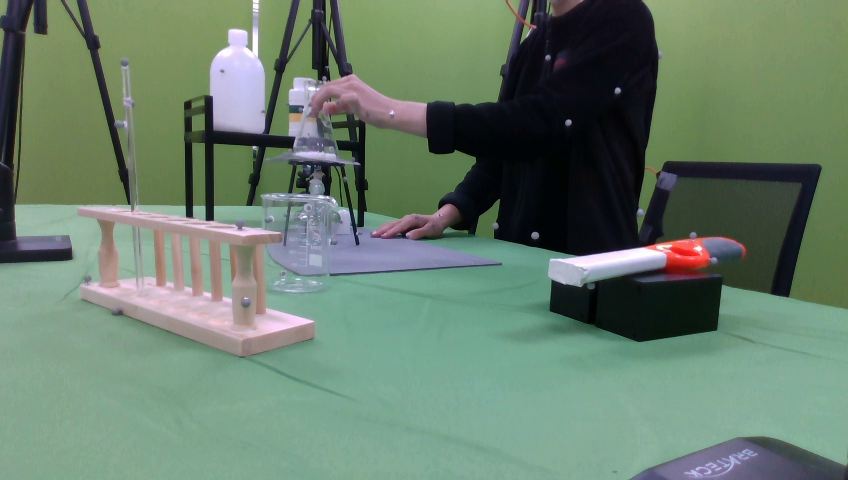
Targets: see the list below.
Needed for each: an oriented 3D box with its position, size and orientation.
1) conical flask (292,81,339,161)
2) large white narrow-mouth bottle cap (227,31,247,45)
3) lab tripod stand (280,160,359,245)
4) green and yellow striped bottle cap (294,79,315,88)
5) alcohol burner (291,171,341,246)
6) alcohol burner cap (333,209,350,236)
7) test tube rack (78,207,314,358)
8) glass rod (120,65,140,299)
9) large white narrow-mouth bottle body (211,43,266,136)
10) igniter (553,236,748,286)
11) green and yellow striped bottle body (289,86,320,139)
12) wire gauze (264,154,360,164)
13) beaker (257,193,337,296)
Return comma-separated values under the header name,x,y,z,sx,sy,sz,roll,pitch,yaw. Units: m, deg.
name,x,y,z,sx,sy,sz,roll,pitch,yaw
conical flask,-0.171,-0.187,0.956,0.075,0.122,0.075,1,7,0
large white narrow-mouth bottle cap,-0.361,-0.388,1.165,0.038,0.024,0.037,1,7,0
lab tripod stand,-0.176,-0.062,0.973,0.148,0.131,0.148,1,7,0
green and yellow striped bottle cap,-0.248,-0.323,1.256,0.045,0.020,0.045,3,9,0
alcohol burner,-0.172,-0.050,0.962,0.078,0.119,0.078,1,5,0
alcohol burner cap,-0.151,-0.033,1.115,0.034,0.048,0.034,3,6,0
test tube rack,-0.196,0.023,0.500,0.241,0.085,0.067,8,8,37
glass rod,-0.249,-0.047,0.513,0.008,0.199,0.008,-1,4,0
large white narrow-mouth bottle body,-0.361,-0.302,1.176,0.102,0.194,0.102,1,7,0
igniter,0.221,0.017,0.559,0.278,0.025,0.057,-4,14,-39
green and yellow striped bottle body,-0.250,-0.272,1.261,0.063,0.119,0.063,3,7,0
wire gauze,-0.181,-0.129,0.969,0.126,0.011,0.121,-1,7,-27
beaker,-0.130,0.004,0.628,0.084,0.100,0.074,5,8,15
